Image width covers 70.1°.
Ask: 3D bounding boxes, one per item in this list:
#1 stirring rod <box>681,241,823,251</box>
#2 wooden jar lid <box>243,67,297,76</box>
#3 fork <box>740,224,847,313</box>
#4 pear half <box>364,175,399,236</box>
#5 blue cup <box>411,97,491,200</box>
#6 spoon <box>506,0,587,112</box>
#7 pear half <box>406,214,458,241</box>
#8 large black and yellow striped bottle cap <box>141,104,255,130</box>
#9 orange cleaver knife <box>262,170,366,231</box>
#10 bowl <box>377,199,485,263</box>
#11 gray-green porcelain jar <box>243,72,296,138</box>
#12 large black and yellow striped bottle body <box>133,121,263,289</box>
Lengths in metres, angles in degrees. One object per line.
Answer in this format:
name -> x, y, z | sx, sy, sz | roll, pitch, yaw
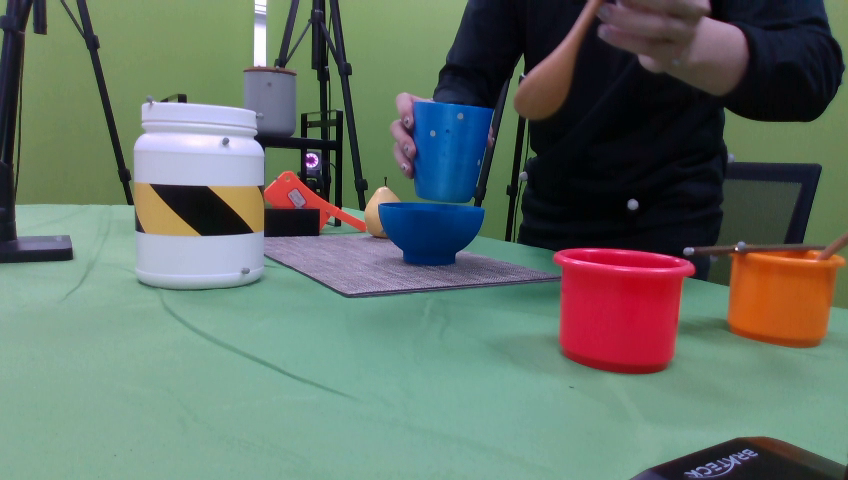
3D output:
stirring rod -> 0.289, 0.005, 0.525 | 0.177, 0.006, 0.014 | -1, 5, -26
wooden jar lid -> -0.319, -0.342, 1.254 | 0.108, 0.020, 0.108 | 3, 8, 0
fork -> 0.323, 0.013, 0.484 | 0.028, 0.018, 0.207 | 10, -38, -5
pear half -> -0.064, -0.061, 1.077 | 0.055, 0.110, 0.077 | 9, 14, 39
blue cup -> 0.024, -0.097, 0.646 | 0.093, 0.100, 0.092 | 6, 11, -1
spoon -> 0.124, -0.187, 0.487 | 0.042, 0.193, 0.021 | 24, 25, -9
pear half -> 0.007, -0.020, 0.847 | 0.070, 0.031, 0.088 | 2, 11, 39
large black and yellow striped bottle cap -> -0.241, -0.131, 0.650 | 0.115, 0.019, 0.115 | 3, 8, 0
orange cleaver knife -> -0.201, -0.057, 1.136 | 0.212, 0.077, 0.012 | 31, -3, -31
bowl -> 0.008, -0.013, 0.842 | 0.151, 0.077, 0.151 | 2, 8, 0
gray-green porcelain jar -> -0.322, -0.279, 1.263 | 0.106, 0.126, 0.106 | 3, 8, 0
large black and yellow striped bottle body -> -0.243, -0.048, 0.659 | 0.131, 0.184, 0.130 | 2, 7, 0
